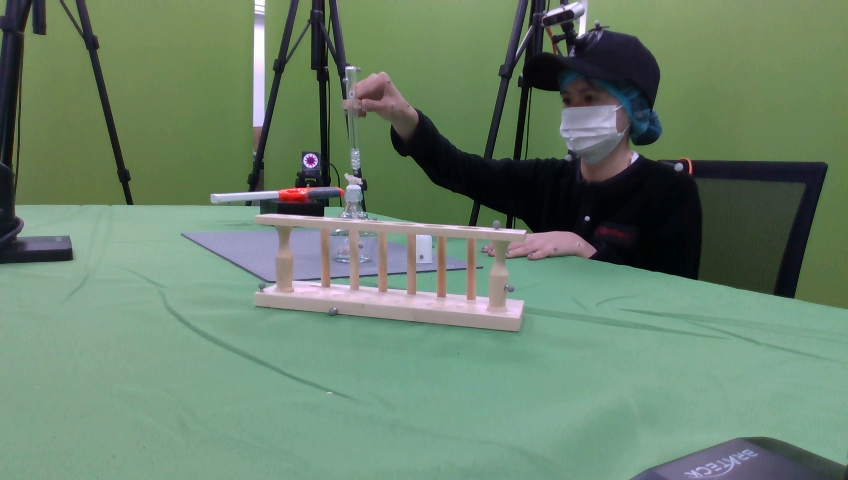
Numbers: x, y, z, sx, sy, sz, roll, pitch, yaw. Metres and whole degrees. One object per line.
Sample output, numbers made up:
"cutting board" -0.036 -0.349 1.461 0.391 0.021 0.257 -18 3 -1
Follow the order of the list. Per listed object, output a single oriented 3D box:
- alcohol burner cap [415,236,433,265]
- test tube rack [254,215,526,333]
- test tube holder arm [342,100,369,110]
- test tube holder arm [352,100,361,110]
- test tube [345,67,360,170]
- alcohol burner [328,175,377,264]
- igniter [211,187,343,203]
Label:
"alcohol burner cap" -0.004 0.011 0.835 0.034 0.048 0.034 2 7 0
"test tube rack" -0.030 0.025 0.557 0.242 0.085 0.067 4 7 12
"test tube holder arm" -0.107 -0.214 0.961 0.013 0.015 0.178 2 12 3
"test tube holder arm" -0.102 -0.204 0.917 0.010 0.015 0.087 0 12 -4
"test tube" -0.106 -0.180 0.898 0.017 0.150 0.017 -2 9 1
"alcohol burner" -0.098 -0.028 0.819 0.078 0.119 0.078 1 8 0
"igniter" -0.300 -0.095 1.266 0.278 0.025 0.057 -6 12 -34
